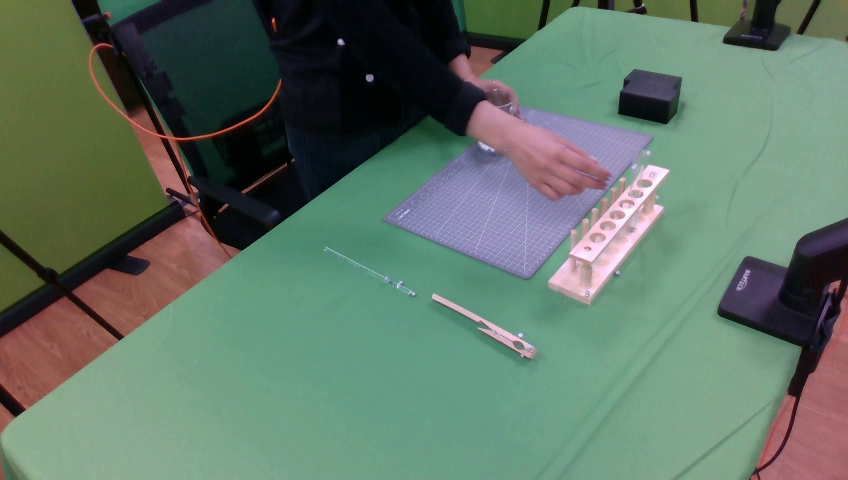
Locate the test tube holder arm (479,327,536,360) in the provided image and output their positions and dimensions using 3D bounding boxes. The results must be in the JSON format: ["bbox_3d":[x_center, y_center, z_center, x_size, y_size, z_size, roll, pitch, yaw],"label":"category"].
[{"bbox_3d":[0.110,0.135,0.805,0.087,0.015,0.010,29,85,37],"label":"test tube holder arm"}]

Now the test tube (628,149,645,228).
[{"bbox_3d":[0.309,-0.071,0.882,0.017,0.151,0.017,-7,46,8],"label":"test tube"}]

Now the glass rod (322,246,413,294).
[{"bbox_3d":[-0.093,0.045,0.956,0.198,0.008,0.008,24,51,33],"label":"glass rod"}]

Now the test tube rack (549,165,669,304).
[{"bbox_3d":[0.279,-0.018,0.902,0.066,0.085,0.243,24,50,33],"label":"test tube rack"}]

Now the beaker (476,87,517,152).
[{"bbox_3d":[0.132,-0.222,1.130,0.084,0.100,0.073,-34,47,-31],"label":"beaker"}]

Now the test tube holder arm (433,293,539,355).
[{"bbox_3d":[0.081,0.113,0.832,0.177,0.015,0.013,28,84,36],"label":"test tube holder arm"}]
